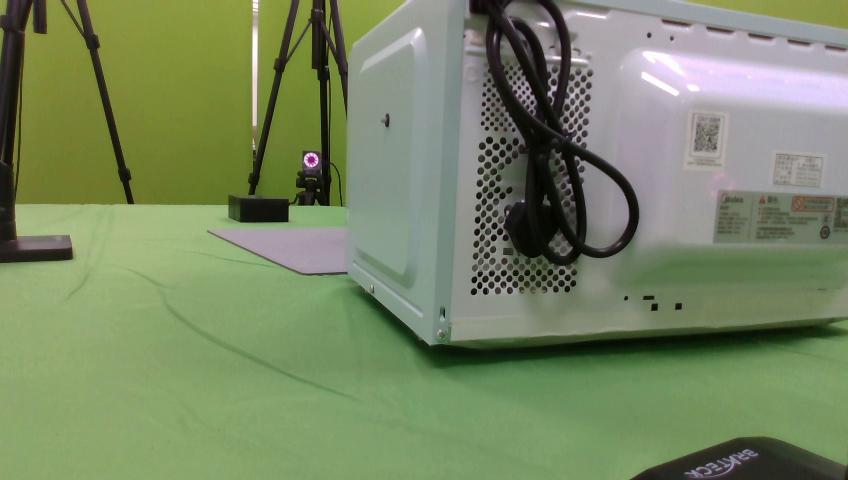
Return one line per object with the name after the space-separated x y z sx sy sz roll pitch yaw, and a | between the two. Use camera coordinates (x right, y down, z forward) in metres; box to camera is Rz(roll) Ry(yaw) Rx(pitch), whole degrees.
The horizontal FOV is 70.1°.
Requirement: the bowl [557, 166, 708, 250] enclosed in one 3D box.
0.214 -0.035 0.640 0.151 0.077 0.151 2 11 0 | bowl

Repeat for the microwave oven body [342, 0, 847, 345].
0.169 -0.060 0.573 0.444 0.260 0.324 1 7 -20 | microwave oven body

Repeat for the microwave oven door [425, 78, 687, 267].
0.171 -0.101 0.855 0.354 0.243 0.039 6 8 25 | microwave oven door

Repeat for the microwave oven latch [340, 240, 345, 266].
-0.052 0.016 0.662 0.079 0.029 0.030 1 7 -19 | microwave oven latch
